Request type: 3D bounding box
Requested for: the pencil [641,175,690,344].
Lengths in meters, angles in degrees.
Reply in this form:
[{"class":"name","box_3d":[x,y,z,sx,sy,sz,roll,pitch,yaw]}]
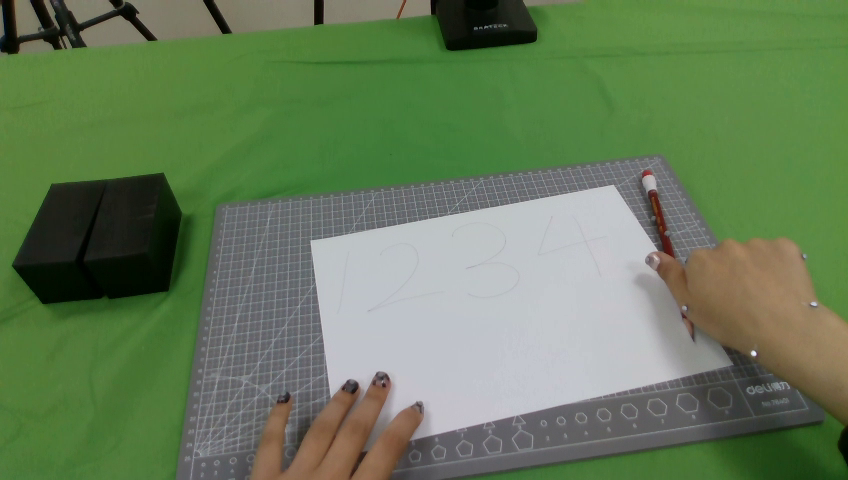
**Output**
[{"class":"pencil","box_3d":[0.212,0.010,0.531,0.012,0.012,0.192,2,48,4]}]
